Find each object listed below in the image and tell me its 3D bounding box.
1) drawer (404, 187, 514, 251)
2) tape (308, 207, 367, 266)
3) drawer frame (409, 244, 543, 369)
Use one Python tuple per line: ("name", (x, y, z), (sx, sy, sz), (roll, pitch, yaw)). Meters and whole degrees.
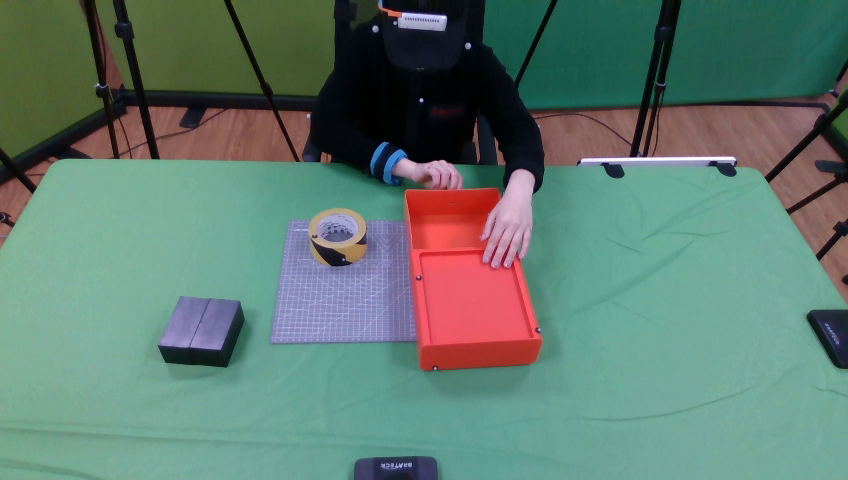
("drawer", (0.066, -0.010, 1.171), (0.195, 0.073, 0.210), (-1, 45, -6))
("tape", (-0.167, -0.008, 1.166), (0.117, 0.053, 0.116), (3, 46, -2))
("drawer frame", (0.082, 0.110, 1.051), (0.202, 0.083, 0.212), (-2, 47, -7))
